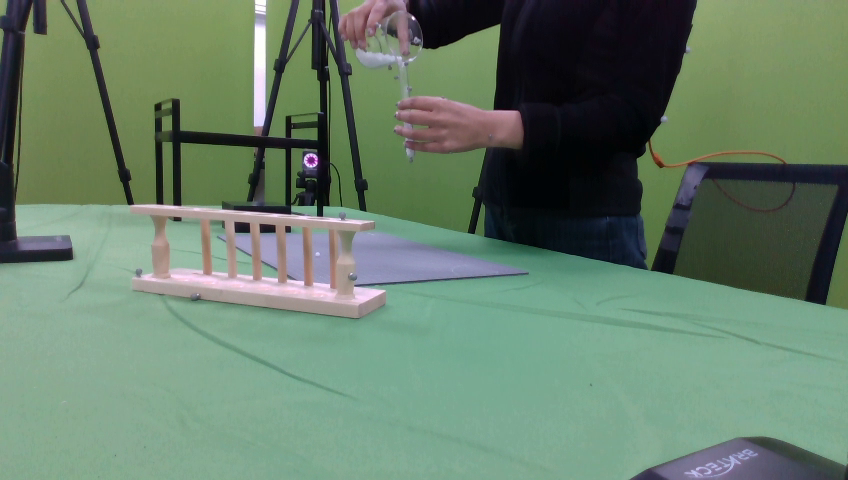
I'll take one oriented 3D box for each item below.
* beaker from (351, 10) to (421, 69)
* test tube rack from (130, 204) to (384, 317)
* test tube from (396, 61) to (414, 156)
[{"bbox_3d":[-0.064,-0.315,0.973,0.074,0.084,0.100,2,1,-41],"label":"beaker"},{"bbox_3d":[-0.163,0.013,0.589,0.242,0.085,0.067,5,8,17],"label":"test tube rack"},{"bbox_3d":[-0.028,-0.202,0.930,0.017,0.150,0.017,-5,-6,0],"label":"test tube"}]
